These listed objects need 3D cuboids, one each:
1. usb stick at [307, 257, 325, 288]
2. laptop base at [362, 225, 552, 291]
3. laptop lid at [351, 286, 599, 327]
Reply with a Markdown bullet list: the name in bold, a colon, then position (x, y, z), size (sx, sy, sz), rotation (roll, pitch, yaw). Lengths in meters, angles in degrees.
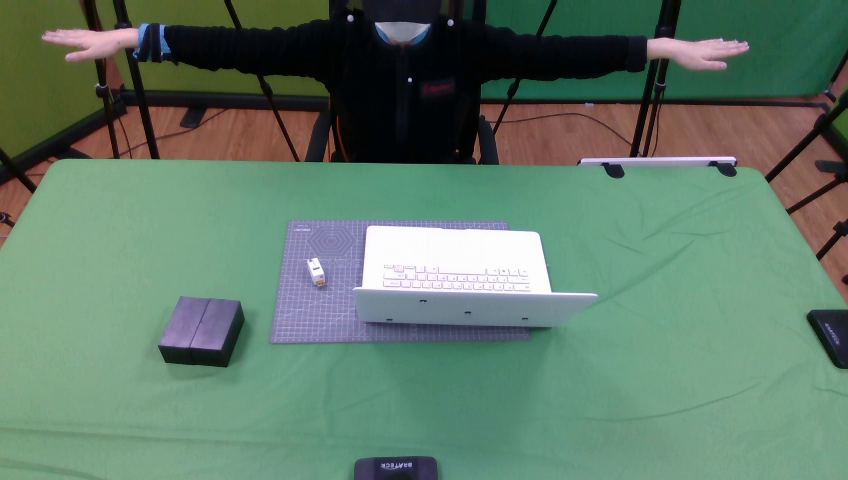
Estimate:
- **usb stick**: position (-0.198, 0.062, 1.116), size (0.021, 0.027, 0.059), rotation (-15, 52, -19)
- **laptop base**: position (0.061, 0.063, 1.145), size (0.354, 0.023, 0.234), rotation (2, 43, -3)
- **laptop lid**: position (0.068, 0.109, 0.952), size (0.357, 0.242, 0.013), rotation (2, 71, -4)
